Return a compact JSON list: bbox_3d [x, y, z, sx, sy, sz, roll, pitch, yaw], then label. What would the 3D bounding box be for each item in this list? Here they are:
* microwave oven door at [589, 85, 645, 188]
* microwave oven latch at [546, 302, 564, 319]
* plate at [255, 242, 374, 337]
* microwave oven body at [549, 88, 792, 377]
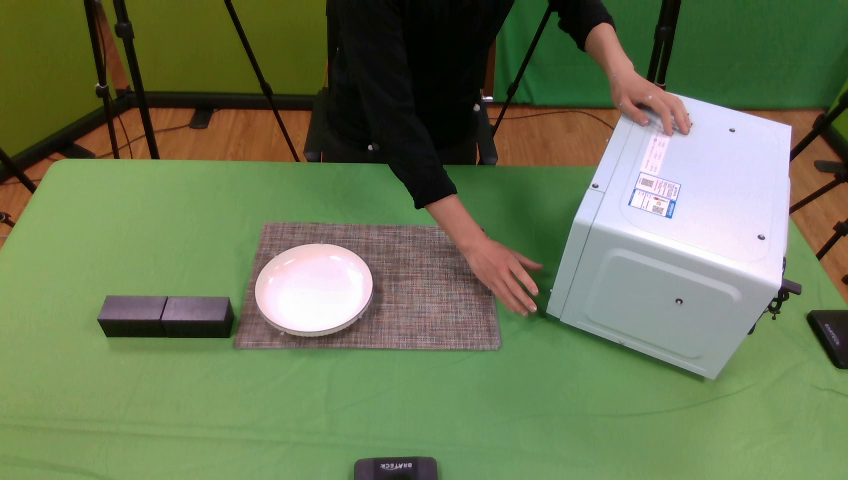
[{"bbox_3d":[0.341,-0.107,1.149,0.039,0.245,0.354,20,48,15],"label":"microwave oven door"},{"bbox_3d":[0.243,0.103,1.079,0.030,0.029,0.079,25,49,20],"label":"microwave oven latch"},{"bbox_3d":[-0.192,0.090,1.079,0.208,0.039,0.206,2,46,-2],"label":"plate"},{"bbox_3d":[0.456,-0.028,1.088,0.325,0.261,0.440,20,47,16],"label":"microwave oven body"}]
